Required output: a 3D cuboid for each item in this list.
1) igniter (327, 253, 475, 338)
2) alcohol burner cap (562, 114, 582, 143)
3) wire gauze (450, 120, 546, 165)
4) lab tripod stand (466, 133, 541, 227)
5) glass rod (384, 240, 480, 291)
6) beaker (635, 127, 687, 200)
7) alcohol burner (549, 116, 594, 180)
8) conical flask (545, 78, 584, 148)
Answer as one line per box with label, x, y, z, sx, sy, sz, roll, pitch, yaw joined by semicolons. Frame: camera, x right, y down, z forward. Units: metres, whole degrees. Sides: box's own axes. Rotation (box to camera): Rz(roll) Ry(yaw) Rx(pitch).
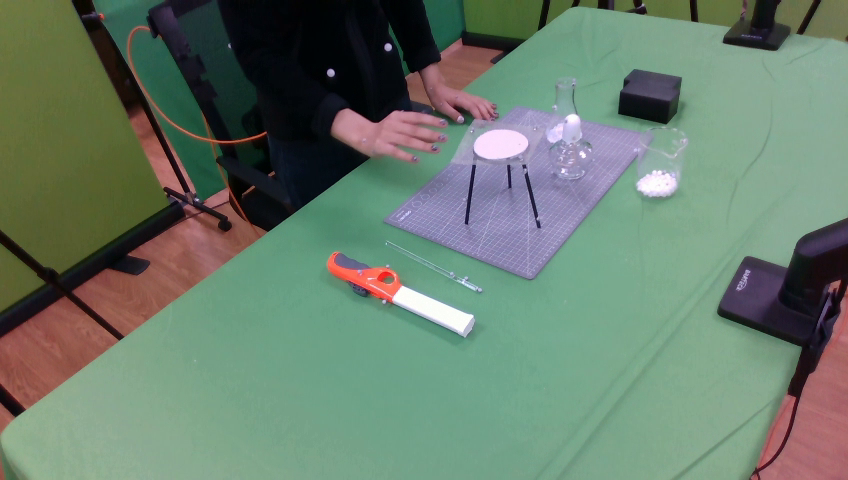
igniter;-0.045;0.077;0.898;0.274;0.025;0.057;22;60;32
alcohol burner cap;0.254;-0.192;1.030;0.034;0.048;0.033;-4;51;6
wire gauze;0.117;-0.151;0.943;0.121;0.011;0.125;9;43;21
lab tripod stand;0.129;-0.099;0.985;0.148;0.132;0.147;-7;38;6
glass rod;0.008;0.037;0.949;0.198;0.008;0.008;26;52;34
beaker;0.388;-0.122;0.994;0.074;0.101;0.083;-8;40;2
alcohol burner;0.258;-0.166;1.055;0.078;0.120;0.077;-6;42;6
conical flask;0.264;-0.241;1.135;0.075;0.122;0.075;-6;40;5
